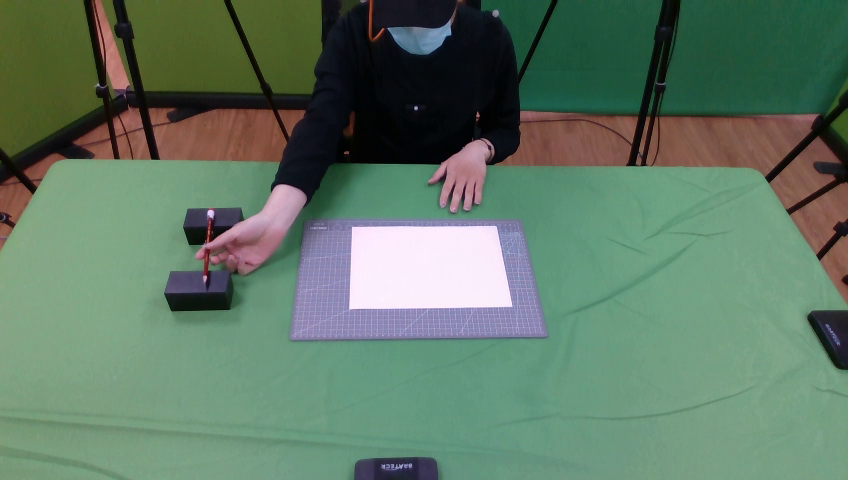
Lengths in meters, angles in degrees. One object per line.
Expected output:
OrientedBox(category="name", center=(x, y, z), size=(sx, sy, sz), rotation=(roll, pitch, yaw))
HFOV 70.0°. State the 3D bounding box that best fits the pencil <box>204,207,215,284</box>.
OrientedBox(category="pencil", center=(-0.388, 0.007, 1.094), size=(0.012, 0.012, 0.192), rotation=(-6, 46, -10))
